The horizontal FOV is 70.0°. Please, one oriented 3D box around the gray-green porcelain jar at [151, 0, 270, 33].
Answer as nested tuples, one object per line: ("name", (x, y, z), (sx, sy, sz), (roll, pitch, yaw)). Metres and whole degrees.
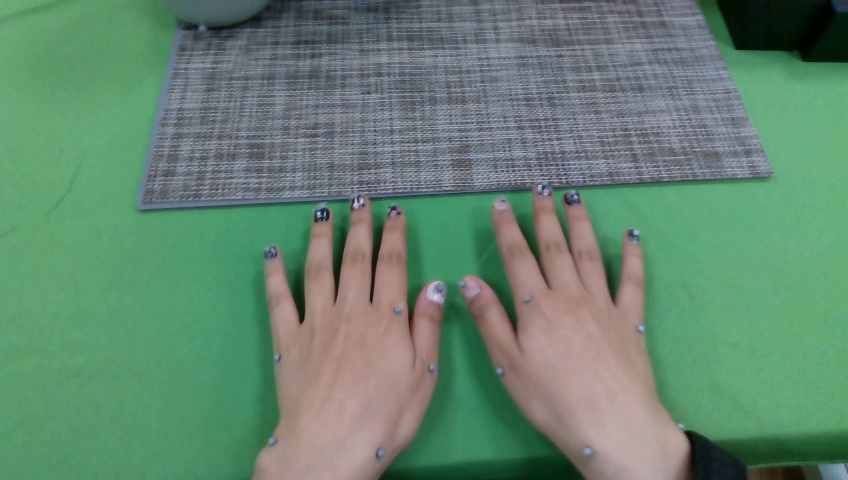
("gray-green porcelain jar", (-0.180, -0.241, 0.480), (0.106, 0.127, 0.105), (1, 57, -1))
